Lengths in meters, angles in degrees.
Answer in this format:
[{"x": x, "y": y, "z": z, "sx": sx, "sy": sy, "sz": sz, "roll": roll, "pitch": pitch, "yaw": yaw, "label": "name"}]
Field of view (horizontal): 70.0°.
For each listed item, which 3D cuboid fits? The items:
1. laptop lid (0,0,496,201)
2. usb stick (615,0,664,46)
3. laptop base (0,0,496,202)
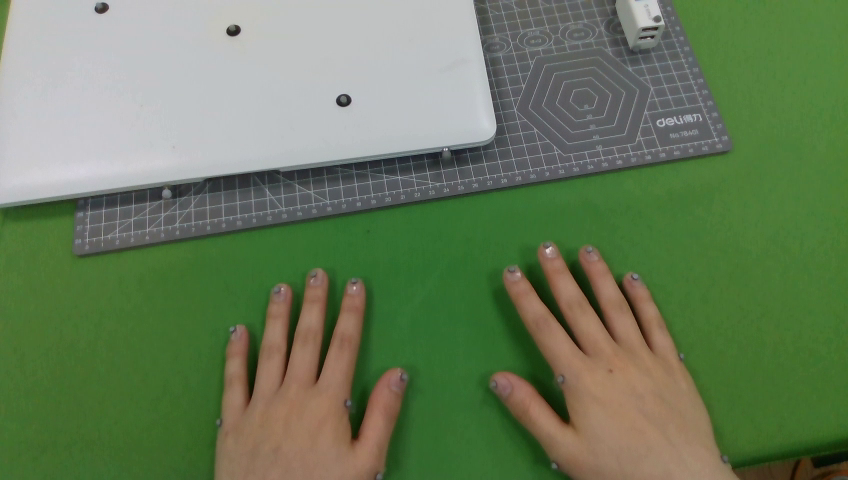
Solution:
[{"x": -0.138, "y": -0.154, "z": 0.445, "sx": 0.357, "sy": 0.013, "sz": 0.240, "roll": -6, "pitch": 69, "yaw": 0, "label": "laptop lid"}, {"x": 0.158, "y": -0.176, "z": 0.450, "sx": 0.021, "sy": 0.027, "sz": 0.058, "roll": -8, "pitch": 64, "yaw": 0, "label": "usb stick"}, {"x": -0.137, "y": -0.151, "z": 0.457, "sx": 0.354, "sy": 0.023, "sz": 0.234, "roll": -7, "pitch": 70, "yaw": -1, "label": "laptop base"}]
